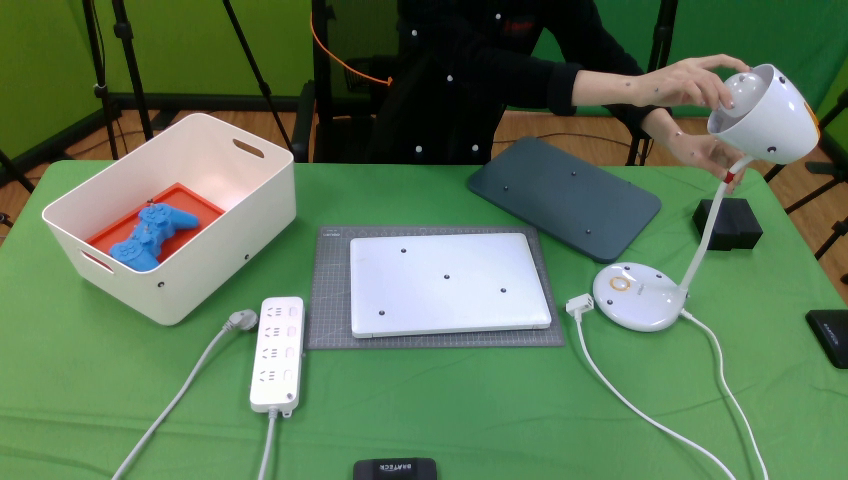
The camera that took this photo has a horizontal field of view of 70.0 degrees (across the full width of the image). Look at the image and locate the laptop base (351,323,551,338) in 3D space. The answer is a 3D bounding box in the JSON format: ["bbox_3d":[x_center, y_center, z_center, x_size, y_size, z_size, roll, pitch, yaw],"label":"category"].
[{"bbox_3d":[0.040,0.080,1.125,0.355,0.023,0.234,-2,43,-6],"label":"laptop base"}]

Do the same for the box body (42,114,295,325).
[{"bbox_3d":[-0.437,-0.046,1.110,0.253,0.161,0.363,24,49,19],"label":"box body"}]

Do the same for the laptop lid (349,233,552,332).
[{"bbox_3d":[0.040,0.070,1.119,0.357,0.013,0.240,-1,44,-5],"label":"laptop lid"}]

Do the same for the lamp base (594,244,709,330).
[{"bbox_3d":[0.412,0.052,1.070,0.179,0.181,0.160,18,48,9],"label":"lamp base"}]

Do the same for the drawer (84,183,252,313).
[{"bbox_3d":[-0.457,0.008,1.099,0.194,0.073,0.211,29,49,21],"label":"drawer"}]

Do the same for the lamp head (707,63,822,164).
[{"bbox_3d":[0.462,-0.155,0.813,0.123,0.112,0.112,36,47,-12],"label":"lamp head"}]

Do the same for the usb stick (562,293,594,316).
[{"bbox_3d":[0.274,0.118,1.087,0.021,0.059,0.027,39,45,-27],"label":"usb stick"}]

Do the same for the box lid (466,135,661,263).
[{"bbox_3d":[0.306,-0.102,1.327,0.370,0.015,0.263,32,52,25],"label":"box lid"}]

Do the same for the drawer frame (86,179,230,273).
[{"bbox_3d":[-0.453,0.010,1.100,0.201,0.083,0.213,28,54,23],"label":"drawer frame"}]

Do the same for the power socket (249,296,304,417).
[{"bbox_3d":[-0.239,0.182,0.996,0.072,0.033,0.225,-2,47,-5],"label":"power socket"}]

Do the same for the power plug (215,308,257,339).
[{"bbox_3d":[-0.316,0.143,1.024,0.072,0.053,0.035,-33,57,-8],"label":"power plug"}]

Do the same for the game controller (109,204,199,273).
[{"bbox_3d":[-0.467,-0.005,1.044,0.097,0.052,0.154,8,45,10],"label":"game controller"}]

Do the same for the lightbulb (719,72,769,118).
[{"bbox_3d":[0.443,-0.177,0.806,0.108,0.059,0.059,38,50,-7],"label":"lightbulb"}]
